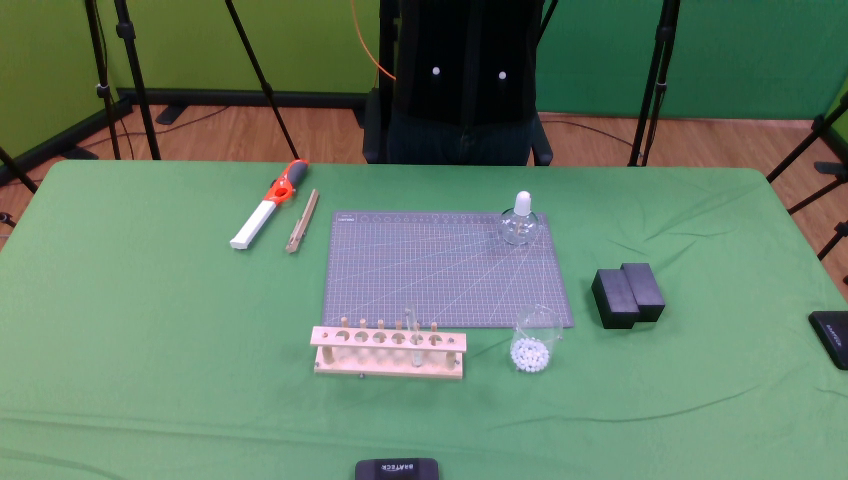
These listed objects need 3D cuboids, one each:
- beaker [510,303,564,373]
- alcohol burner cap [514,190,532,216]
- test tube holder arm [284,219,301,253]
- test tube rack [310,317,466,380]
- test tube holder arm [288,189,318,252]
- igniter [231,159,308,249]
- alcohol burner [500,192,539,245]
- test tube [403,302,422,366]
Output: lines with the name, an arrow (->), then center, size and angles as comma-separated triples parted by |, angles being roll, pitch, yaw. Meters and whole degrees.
beaker -> 0.182, 0.164, 1.000 | 0.074, 0.101, 0.083 | 2, 46, -1
alcohol burner cap -> 0.192, -0.074, 1.166 | 0.034, 0.048, 0.033 | 1, 41, -1
test tube holder arm -> -0.254, -0.010, 1.194 | 0.010, 0.015, 0.087 | -14, 39, 26
test tube rack -> -0.056, 0.171, 0.987 | 0.242, 0.085, 0.066 | 3, 45, -1
test tube holder arm -> -0.242, -0.043, 1.223 | 0.013, 0.015, 0.177 | -15, 39, 25
igniter -> -0.313, -0.082, 1.251 | 0.057, 0.025, 0.275 | 8, 45, 18
alcohol burner -> 0.190, -0.048, 1.190 | 0.078, 0.120, 0.077 | 1, 47, -1
test tube -> -0.017, 0.149, 0.941 | 0.017, 0.151, 0.017 | -3, 44, 3
